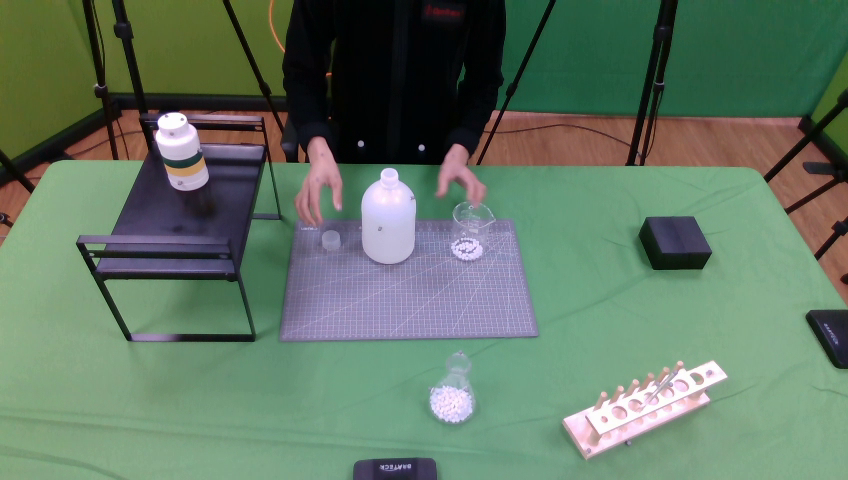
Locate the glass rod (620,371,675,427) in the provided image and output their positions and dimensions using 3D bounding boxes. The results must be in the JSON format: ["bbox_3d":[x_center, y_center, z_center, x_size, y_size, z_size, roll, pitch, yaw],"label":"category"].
[{"bbox_3d":[0.316,0.230,0.863,0.008,0.200,0.008,3,54,-3],"label":"glass rod"}]

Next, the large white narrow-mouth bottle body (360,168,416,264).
[{"bbox_3d":[-0.067,-0.051,1.119,0.102,0.195,0.101,3,46,-3],"label":"large white narrow-mouth bottle body"}]

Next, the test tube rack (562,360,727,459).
[{"bbox_3d":[0.341,0.247,0.940,0.243,0.085,0.066,-16,49,-18],"label":"test tube rack"}]

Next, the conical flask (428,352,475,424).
[{"bbox_3d":[0.046,0.220,0.920,0.075,0.122,0.075,2,46,-2],"label":"conical flask"}]

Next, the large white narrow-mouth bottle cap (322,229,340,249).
[{"bbox_3d":[-0.182,-0.003,1.184,0.038,0.024,0.037,3,45,-3],"label":"large white narrow-mouth bottle cap"}]

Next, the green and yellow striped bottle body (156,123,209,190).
[{"bbox_3d":[-0.395,-0.145,0.989,0.063,0.120,0.063,2,46,-2],"label":"green and yellow striped bottle body"}]

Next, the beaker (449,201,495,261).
[{"bbox_3d":[0.089,-0.014,1.161,0.084,0.101,0.073,9,47,4],"label":"beaker"}]

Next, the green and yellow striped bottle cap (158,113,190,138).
[{"bbox_3d":[-0.393,-0.180,0.951,0.045,0.020,0.045,2,44,-2],"label":"green and yellow striped bottle cap"}]
